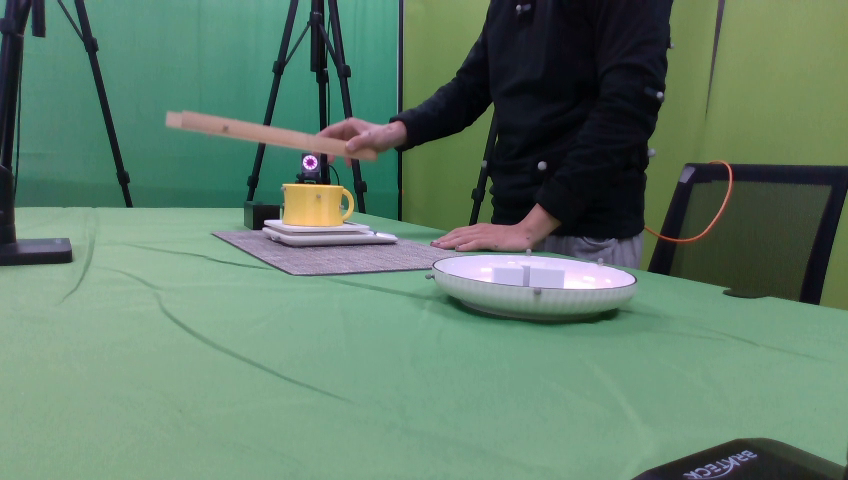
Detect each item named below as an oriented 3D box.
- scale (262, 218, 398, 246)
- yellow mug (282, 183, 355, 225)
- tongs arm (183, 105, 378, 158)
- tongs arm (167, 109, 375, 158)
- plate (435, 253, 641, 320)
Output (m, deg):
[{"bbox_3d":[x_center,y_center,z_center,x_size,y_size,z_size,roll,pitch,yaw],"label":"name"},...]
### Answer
[{"bbox_3d":[-0.160,-0.016,1.028,0.202,0.031,0.148,-1,9,-32],"label":"scale"},{"bbox_3d":[-0.171,-0.061,1.009,0.131,0.064,0.099,-2,7,-41],"label":"yellow mug"},{"bbox_3d":[-0.230,-0.187,1.070,0.390,0.027,0.028,5,-1,-42],"label":"tongs arm"},{"bbox_3d":[-0.266,-0.193,1.120,0.387,0.026,0.050,6,1,-35],"label":"tongs arm"},{"bbox_3d":[0.114,0.047,0.626,0.208,0.039,0.207,2,7,0],"label":"plate"}]
